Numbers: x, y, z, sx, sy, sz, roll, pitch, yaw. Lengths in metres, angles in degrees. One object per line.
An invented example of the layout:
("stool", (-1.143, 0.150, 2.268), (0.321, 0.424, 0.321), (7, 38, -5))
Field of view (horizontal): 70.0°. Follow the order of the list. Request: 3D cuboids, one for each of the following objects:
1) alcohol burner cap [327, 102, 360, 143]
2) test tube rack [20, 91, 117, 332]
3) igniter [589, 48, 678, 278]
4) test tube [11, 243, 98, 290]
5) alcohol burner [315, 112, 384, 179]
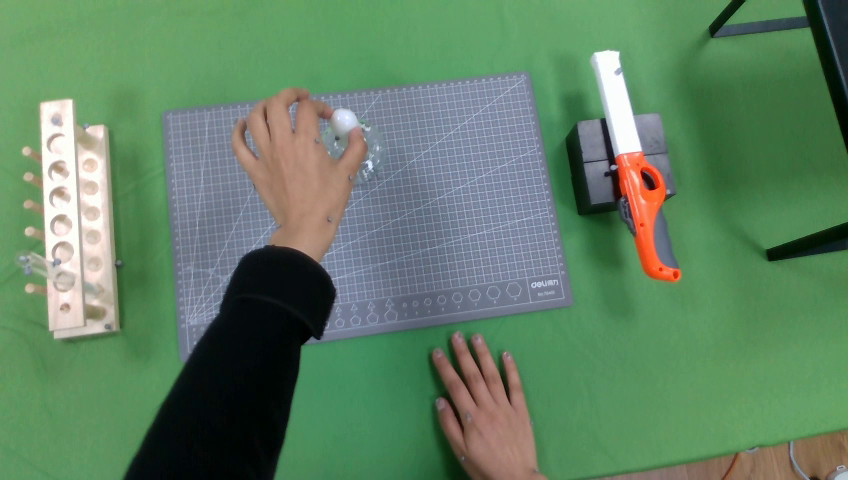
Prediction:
("alcohol burner cap", (-0.083, -0.121, 0.611), (0.034, 0.048, 0.033), (0, 80, 0))
("test tube rack", (-0.389, -0.027, 0.652), (0.067, 0.085, 0.241), (-7, 80, -5))
("igniter", (0.234, -0.089, 0.684), (0.057, 0.025, 0.275), (-8, 77, -8))
("test tube", (-0.357, 0.029, 0.594), (0.017, 0.151, 0.017), (2, 74, -6))
("alcohol burner", (-0.083, -0.110, 0.670), (0.078, 0.119, 0.077), (0, 80, -1))
